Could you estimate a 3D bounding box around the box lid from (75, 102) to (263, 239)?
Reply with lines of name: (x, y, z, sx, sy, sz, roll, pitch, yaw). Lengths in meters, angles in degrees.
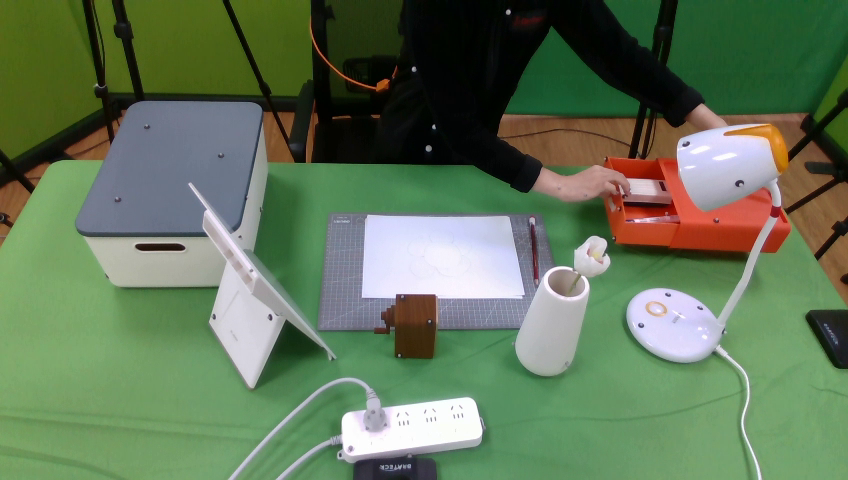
box lid: (-0.443, -0.138, 1.094, 0.263, 0.015, 0.369, -1, 47, -5)

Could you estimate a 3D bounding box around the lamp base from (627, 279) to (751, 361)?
lamp base: (0.459, 0.100, 1.027, 0.178, 0.181, 0.160, 27, 51, 17)

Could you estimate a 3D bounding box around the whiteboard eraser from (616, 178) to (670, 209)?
whiteboard eraser: (0.443, -0.094, 1.244, 0.113, 0.042, 0.055, 8, 45, -6)

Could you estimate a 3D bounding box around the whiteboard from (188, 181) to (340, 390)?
whiteboard: (-0.292, 0.096, 0.929, 0.144, 0.307, 0.216, -38, 57, -10)

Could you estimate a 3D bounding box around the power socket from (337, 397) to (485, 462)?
power socket: (-0.018, 0.285, 0.915, 0.227, 0.033, 0.071, -5, 46, -8)

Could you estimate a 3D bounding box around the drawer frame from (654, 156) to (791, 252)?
drawer frame: (0.575, -0.074, 1.210, 0.214, 0.083, 0.200, 3, 45, -1)

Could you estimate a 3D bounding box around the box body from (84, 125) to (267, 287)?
box body: (-0.446, -0.088, 1.150, 0.254, 0.161, 0.361, -1, 46, -5)

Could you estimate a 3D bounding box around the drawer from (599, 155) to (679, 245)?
drawer: (0.471, -0.078, 1.208, 0.212, 0.073, 0.193, 4, 45, -2)

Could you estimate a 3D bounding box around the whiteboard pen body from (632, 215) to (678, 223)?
whiteboard pen body: (0.454, -0.037, 1.198, 0.141, 0.017, 0.017, -6, 47, -11)

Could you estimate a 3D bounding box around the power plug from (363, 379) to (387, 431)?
power plug: (-0.072, 0.252, 0.910, 0.035, 0.053, 0.072, 3, 44, -1)

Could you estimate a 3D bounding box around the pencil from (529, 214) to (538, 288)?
pencil: (0.219, 0.019, 1.202, 0.012, 0.012, 0.193, 5, 48, 0)

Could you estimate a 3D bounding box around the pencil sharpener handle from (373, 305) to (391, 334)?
pencil sharpener handle: (-0.069, 0.133, 0.989, 0.030, 0.068, 0.036, 1, 47, -2)

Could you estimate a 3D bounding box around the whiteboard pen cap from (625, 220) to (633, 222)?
whiteboard pen cap: (0.394, -0.031, 1.185, 0.033, 0.018, 0.018, 0, 46, -16)

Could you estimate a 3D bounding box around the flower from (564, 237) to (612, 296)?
flower: (0.206, 0.088, 0.893, 0.038, 0.363, 0.044, -17, 67, -9)

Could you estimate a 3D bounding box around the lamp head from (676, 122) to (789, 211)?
lamp head: (0.423, -0.104, 0.819, 0.122, 0.113, 0.112, -13, 33, 40)

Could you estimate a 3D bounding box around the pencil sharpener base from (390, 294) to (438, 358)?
pencil sharpener base: (-0.018, 0.143, 1.000, 0.077, 0.107, 0.061, 1, 46, -2)

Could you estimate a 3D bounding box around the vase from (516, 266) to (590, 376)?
vase: (0.208, 0.132, 0.964, 0.098, 0.201, 0.097, 3, 46, -3)
